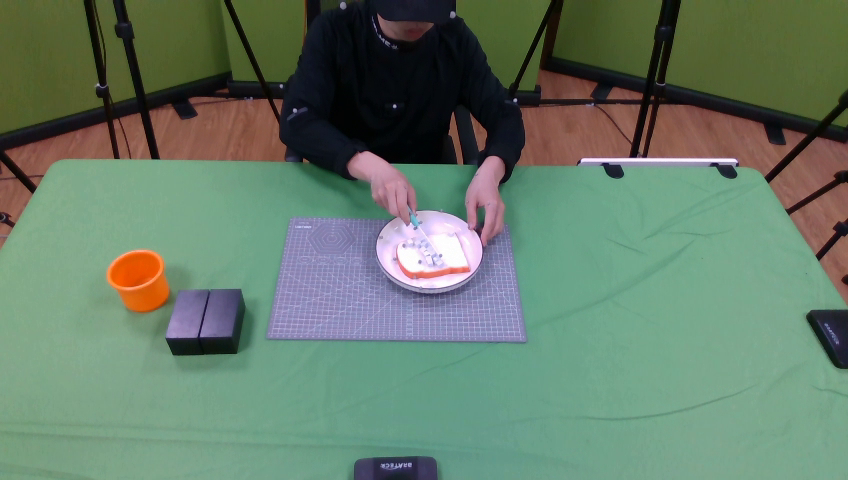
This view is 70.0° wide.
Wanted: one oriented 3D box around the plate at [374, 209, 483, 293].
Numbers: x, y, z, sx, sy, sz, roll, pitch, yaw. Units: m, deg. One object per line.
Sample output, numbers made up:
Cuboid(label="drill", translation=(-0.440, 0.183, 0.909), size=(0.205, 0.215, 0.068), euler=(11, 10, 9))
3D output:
Cuboid(label="plate", translation=(0.009, 0.024, 1.160), size=(0.209, 0.038, 0.208), euler=(2, 46, -2))

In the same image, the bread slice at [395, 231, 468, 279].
Cuboid(label="bread slice", translation=(0.011, 0.030, 1.158), size=(0.132, 0.019, 0.104), euler=(-9, 47, -14))

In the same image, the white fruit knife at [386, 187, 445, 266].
Cuboid(label="white fruit knife", translation=(-0.016, -0.029, 1.164), size=(0.016, 0.027, 0.206), euler=(-29, 65, -16))
